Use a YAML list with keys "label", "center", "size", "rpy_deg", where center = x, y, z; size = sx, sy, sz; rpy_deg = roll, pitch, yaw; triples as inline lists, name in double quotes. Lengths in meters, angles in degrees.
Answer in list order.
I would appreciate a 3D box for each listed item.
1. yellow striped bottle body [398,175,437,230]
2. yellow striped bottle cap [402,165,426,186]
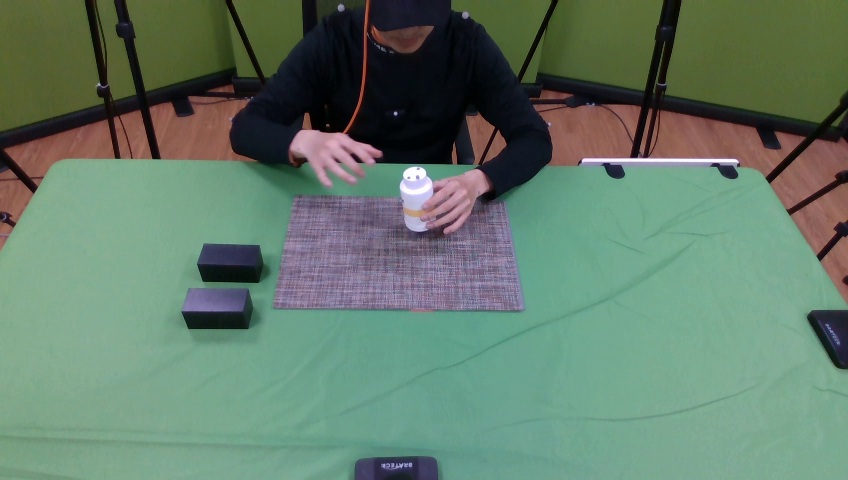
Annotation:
- label: "yellow striped bottle body"
  center: [-0.013, -0.082, 1.155]
  size: [0.063, 0.121, 0.062]
  rpy_deg: [-5, 43, 5]
- label: "yellow striped bottle cap"
  center: [-0.018, -0.119, 1.119]
  size: [0.044, 0.019, 0.044]
  rpy_deg: [-3, 45, 3]
